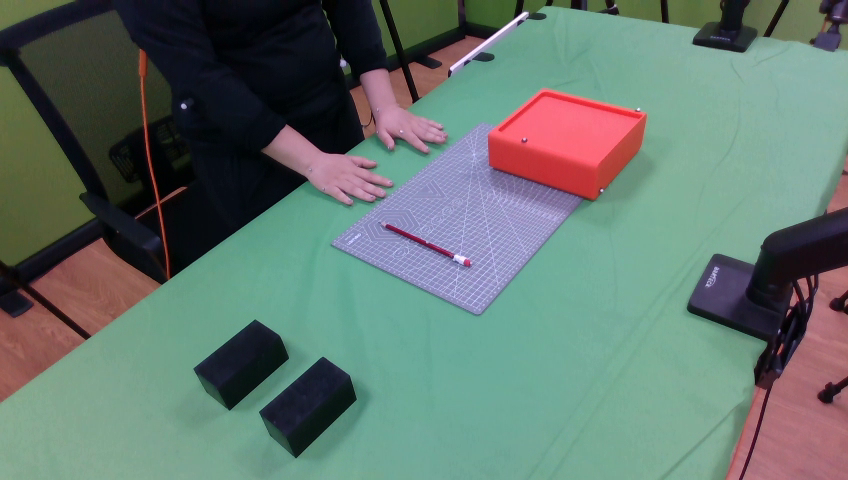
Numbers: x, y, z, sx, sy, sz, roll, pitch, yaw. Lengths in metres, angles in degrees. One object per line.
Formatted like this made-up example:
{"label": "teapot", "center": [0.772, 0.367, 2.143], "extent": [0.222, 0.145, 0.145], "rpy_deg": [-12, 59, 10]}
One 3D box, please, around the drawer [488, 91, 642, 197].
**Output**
{"label": "drawer", "center": [0.254, -0.179, 1.095], "extent": [0.210, 0.073, 0.195], "rpy_deg": [24, 48, 30]}

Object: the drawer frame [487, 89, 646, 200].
{"label": "drawer frame", "center": [0.257, -0.180, 1.094], "extent": [0.212, 0.083, 0.202], "rpy_deg": [23, 48, 30]}

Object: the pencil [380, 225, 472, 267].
{"label": "pencil", "center": [-0.002, 0.006, 0.970], "extent": [0.192, 0.012, 0.012], "rpy_deg": [23, 49, 34]}
